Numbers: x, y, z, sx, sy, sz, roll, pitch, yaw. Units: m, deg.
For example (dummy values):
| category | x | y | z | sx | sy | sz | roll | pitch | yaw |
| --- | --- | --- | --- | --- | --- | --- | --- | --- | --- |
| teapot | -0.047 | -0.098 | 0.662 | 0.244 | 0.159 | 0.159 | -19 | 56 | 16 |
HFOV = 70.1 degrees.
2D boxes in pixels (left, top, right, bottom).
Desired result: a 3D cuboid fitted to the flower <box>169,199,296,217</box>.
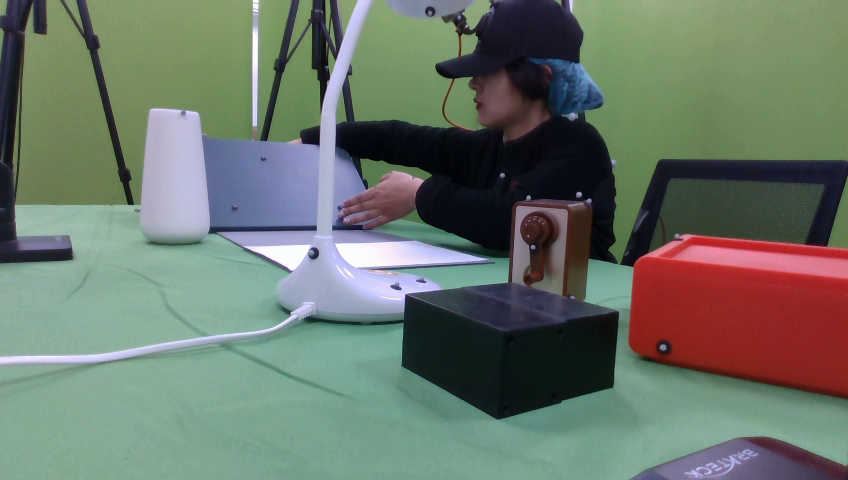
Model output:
| category | x | y | z | sx | sy | sz | roll | pitch | yaw |
| --- | --- | --- | --- | --- | --- | --- | --- | --- | --- |
| flower | -0.423 | -0.069 | 1.399 | 0.044 | 0.038 | 0.363 | -1 | 0 | 31 |

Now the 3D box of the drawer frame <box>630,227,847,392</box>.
| category | x | y | z | sx | sy | sz | roll | pitch | yaw |
| --- | --- | --- | --- | --- | --- | --- | --- | --- | --- |
| drawer frame | 0.292 | 0.043 | 0.484 | 0.201 | 0.082 | 0.214 | 7 | 9 | 29 |

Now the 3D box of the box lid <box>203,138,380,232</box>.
| category | x | y | z | sx | sy | sz | roll | pitch | yaw |
| --- | --- | --- | --- | --- | --- | --- | --- | --- | --- |
| box lid | -0.286 | -0.112 | 1.202 | 0.373 | 0.015 | 0.262 | -2 | 46 | -30 |

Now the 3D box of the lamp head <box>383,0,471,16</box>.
| category | x | y | z | sx | sy | sz | roll | pitch | yaw |
| --- | --- | --- | --- | --- | --- | --- | --- | --- | --- |
| lamp head | -0.001 | -0.301 | 0.599 | 0.112 | 0.112 | 0.123 | 4 | -30 | 14 |

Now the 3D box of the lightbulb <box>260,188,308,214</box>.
| category | x | y | z | sx | sy | sz | roll | pitch | yaw |
| --- | --- | --- | --- | --- | --- | --- | --- | --- | --- |
| lightbulb | -0.318 | -0.084 | 1.376 | 0.108 | 0.059 | 0.059 | -12 | 11 | -14 |

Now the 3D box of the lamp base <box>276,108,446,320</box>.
| category | x | y | z | sx | sy | sz | roll | pitch | yaw |
| --- | --- | --- | --- | --- | --- | --- | --- | --- | --- |
| lamp base | -0.061 | -0.027 | 0.556 | 0.160 | 0.180 | 0.180 | 4 | 10 | 20 |

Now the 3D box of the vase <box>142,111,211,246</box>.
| category | x | y | z | sx | sy | sz | roll | pitch | yaw |
| --- | --- | --- | --- | --- | --- | --- | --- | --- | --- |
| vase | -0.378 | -0.093 | 0.920 | 0.098 | 0.200 | 0.098 | 2 | 9 | 0 |

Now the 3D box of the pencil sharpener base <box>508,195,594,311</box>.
| category | x | y | z | sx | sy | sz | roll | pitch | yaw |
| --- | --- | --- | --- | --- | --- | --- | --- | --- | --- |
| pencil sharpener base | 0.126 | 0.011 | 0.601 | 0.061 | 0.107 | 0.077 | 7 | 9 | 30 |

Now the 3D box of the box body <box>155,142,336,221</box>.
| category | x | y | z | sx | sy | sz | roll | pitch | yaw |
| --- | --- | --- | --- | --- | --- | --- | --- | --- | --- |
| box body | -0.411 | -0.135 | 1.386 | 0.366 | 0.160 | 0.253 | -2 | 9 | -29 |

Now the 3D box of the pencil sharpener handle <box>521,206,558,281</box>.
| category | x | y | z | sx | sy | sz | roll | pitch | yaw |
| --- | --- | --- | --- | --- | --- | --- | --- | --- | --- |
| pencil sharpener handle | 0.101 | 0.003 | 0.555 | 0.036 | 0.067 | 0.031 | 0 | 5 | 31 |

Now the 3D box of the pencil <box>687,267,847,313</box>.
| category | x | y | z | sx | sy | sz | roll | pitch | yaw |
| --- | --- | --- | --- | --- | --- | --- | --- | --- | --- |
| pencil | 0.308 | 0.044 | 0.515 | 0.194 | 0.012 | 0.012 | 13 | 5 | -12 |

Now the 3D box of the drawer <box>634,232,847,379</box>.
| category | x | y | z | sx | sy | sz | roll | pitch | yaw |
| --- | --- | --- | --- | --- | --- | --- | --- | --- | --- |
| drawer | 0.292 | 0.044 | 0.488 | 0.193 | 0.073 | 0.213 | 7 | 9 | 30 |
